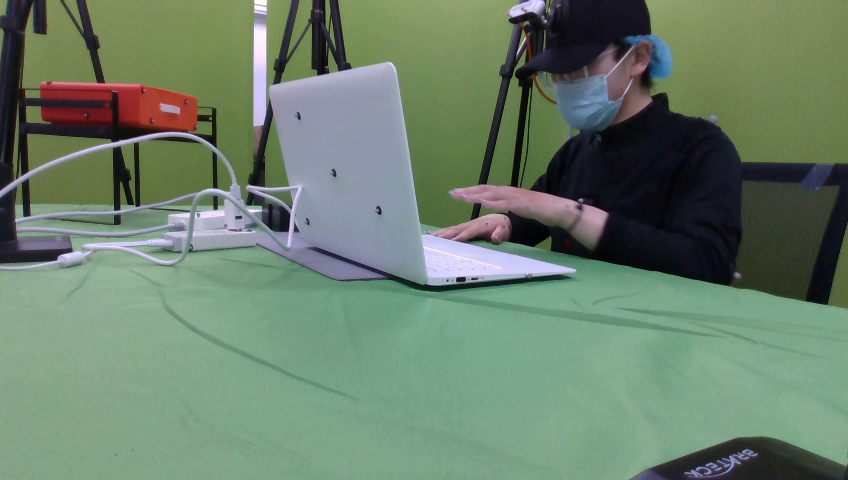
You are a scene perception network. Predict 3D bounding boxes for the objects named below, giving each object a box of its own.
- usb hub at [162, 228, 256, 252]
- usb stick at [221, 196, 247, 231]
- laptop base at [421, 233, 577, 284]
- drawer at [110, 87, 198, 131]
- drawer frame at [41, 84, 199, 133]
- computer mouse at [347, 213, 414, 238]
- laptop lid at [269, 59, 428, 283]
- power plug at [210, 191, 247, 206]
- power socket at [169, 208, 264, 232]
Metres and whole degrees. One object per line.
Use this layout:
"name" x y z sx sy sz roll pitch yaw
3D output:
"usb hub" -0.315 -0.001 0.893 0.049 0.025 0.126 9 10 41
"usb stick" -0.290 -0.036 0.921 0.027 0.059 0.021 14 4 31
"laptop base" 0.007 0.022 0.850 0.237 0.023 0.352 1 7 -34
"drawer" -0.602 -0.263 1.225 0.211 0.073 0.195 3 8 10
"drawer frame" -0.604 -0.264 1.225 0.213 0.082 0.202 3 8 8
"computer mouse" -0.079 -0.025 1.080 0.117 0.041 0.062 -5 11 -18
"laptop lid" -0.110 -0.087 0.752 0.013 0.241 0.355 -18 19 -30
"power plug" -0.386 -0.071 1.204 0.072 0.052 0.035 8 10 25
"power socket" -0.381 -0.038 1.128 0.072 0.032 0.227 4 8 17
